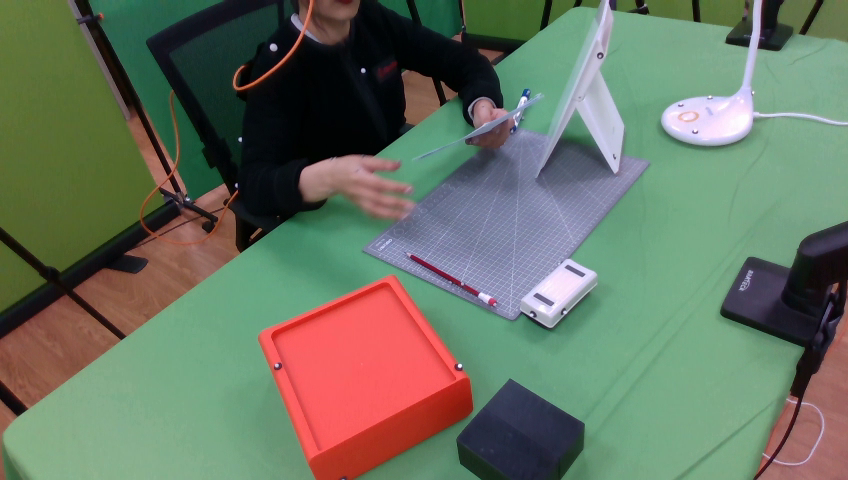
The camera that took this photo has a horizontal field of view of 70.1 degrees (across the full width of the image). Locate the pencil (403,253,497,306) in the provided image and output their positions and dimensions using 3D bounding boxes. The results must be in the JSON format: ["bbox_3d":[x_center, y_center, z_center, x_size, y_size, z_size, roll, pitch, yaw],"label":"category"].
[{"bbox_3d":[0.034,0.056,0.914,0.192,0.012,0.012,27,52,38],"label":"pencil"}]

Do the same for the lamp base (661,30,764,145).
[{"bbox_3d":[0.535,-0.287,1.096,0.179,0.181,0.159,-10,40,-4],"label":"lamp base"}]

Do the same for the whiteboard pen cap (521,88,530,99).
[{"bbox_3d":[0.218,-0.312,1.301,0.018,0.018,0.033,6,47,17],"label":"whiteboard pen cap"}]

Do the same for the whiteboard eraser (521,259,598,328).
[{"bbox_3d":[0.189,0.076,0.843,0.055,0.042,0.113,29,53,37],"label":"whiteboard eraser"}]

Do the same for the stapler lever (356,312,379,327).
[{"bbox_3d":[-0.107,0.127,0.792,0.118,0.040,0.026,-16,25,3],"label":"stapler lever"}]

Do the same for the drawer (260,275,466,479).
[{"bbox_3d":[-0.080,0.162,0.760,0.195,0.073,0.210,-22,42,-16],"label":"drawer"}]

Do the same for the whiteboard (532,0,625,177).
[{"bbox_3d":[0.321,-0.258,1.050,0.144,0.306,0.217,21,45,5],"label":"whiteboard"}]

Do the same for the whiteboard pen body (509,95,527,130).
[{"bbox_3d":[0.199,-0.273,1.261,0.017,0.017,0.140,8,45,19],"label":"whiteboard pen body"}]

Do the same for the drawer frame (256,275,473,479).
[{"bbox_3d":[-0.078,0.163,0.756,0.202,0.083,0.211,-23,43,-17],"label":"drawer frame"}]

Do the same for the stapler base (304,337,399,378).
[{"bbox_3d":[-0.099,0.149,0.805,0.130,0.024,0.041,-14,25,2],"label":"stapler base"}]
